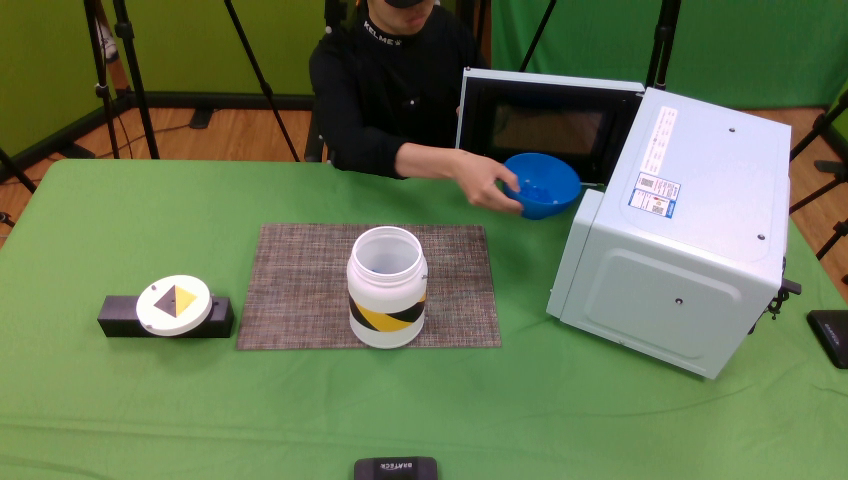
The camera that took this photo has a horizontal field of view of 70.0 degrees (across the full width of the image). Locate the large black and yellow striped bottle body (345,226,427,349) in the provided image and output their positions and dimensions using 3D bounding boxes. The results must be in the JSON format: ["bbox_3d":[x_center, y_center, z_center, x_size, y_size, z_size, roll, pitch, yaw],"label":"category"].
[{"bbox_3d":[-0.062,0.078,0.998,0.131,0.185,0.130,2,46,-2],"label":"large black and yellow striped bottle body"}]

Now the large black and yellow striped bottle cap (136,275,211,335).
[{"bbox_3d":[-0.412,0.105,0.998,0.115,0.019,0.114,3,47,-3],"label":"large black and yellow striped bottle cap"}]

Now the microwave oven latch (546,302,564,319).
[{"bbox_3d":[0.242,0.102,1.081,0.030,0.029,0.079,21,48,17],"label":"microwave oven latch"}]

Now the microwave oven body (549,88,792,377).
[{"bbox_3d":[0.456,-0.028,1.088,0.325,0.261,0.440,20,47,16],"label":"microwave oven body"}]

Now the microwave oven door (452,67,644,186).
[{"bbox_3d":[0.246,-0.230,1.260,0.356,0.245,0.039,5,46,1],"label":"microwave oven door"}]

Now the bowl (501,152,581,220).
[{"bbox_3d":[0.214,-0.091,1.155,0.151,0.077,0.150,5,45,-5],"label":"bowl"}]
